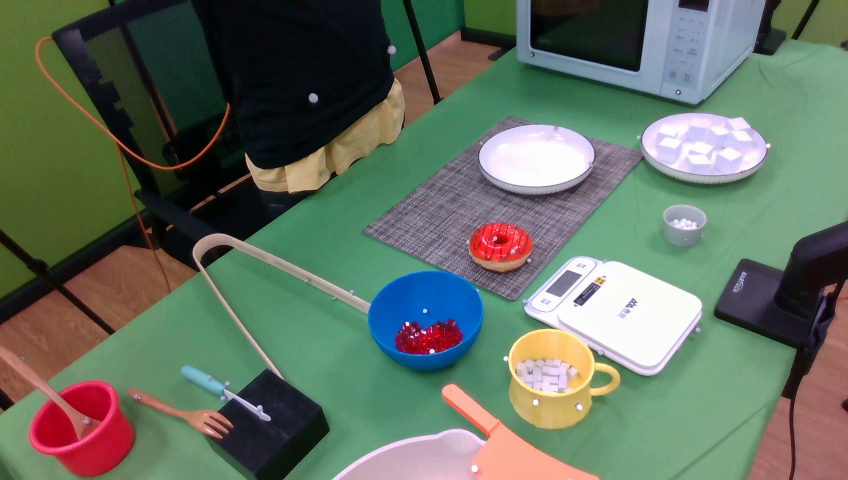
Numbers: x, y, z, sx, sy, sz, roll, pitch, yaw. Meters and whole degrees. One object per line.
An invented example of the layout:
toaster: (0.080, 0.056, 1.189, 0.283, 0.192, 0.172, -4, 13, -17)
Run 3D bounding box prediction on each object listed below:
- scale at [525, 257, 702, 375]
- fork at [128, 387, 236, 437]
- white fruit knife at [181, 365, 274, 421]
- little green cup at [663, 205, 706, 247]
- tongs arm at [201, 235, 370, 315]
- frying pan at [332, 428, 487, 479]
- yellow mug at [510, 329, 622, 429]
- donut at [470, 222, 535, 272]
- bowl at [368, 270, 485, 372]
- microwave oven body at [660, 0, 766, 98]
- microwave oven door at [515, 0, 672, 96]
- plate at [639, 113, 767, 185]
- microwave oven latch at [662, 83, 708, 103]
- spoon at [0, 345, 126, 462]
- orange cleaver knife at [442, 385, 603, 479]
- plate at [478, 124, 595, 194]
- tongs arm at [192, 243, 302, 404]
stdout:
scale: (0.254, 0.091, 0.821, 0.199, 0.032, 0.149, 28, 51, 35)
fork: (-0.305, 0.207, 0.744, 0.206, 0.019, 0.028, 3, 41, 36)
white fruit knife: (-0.245, 0.187, 0.747, 0.205, 0.027, 0.016, 9, 42, 40)
little green cup: (0.396, -0.020, 0.926, 0.061, 0.039, 0.061, -4, 40, 4)
tongs arm: (-0.209, 0.062, 0.924, 0.381, 0.026, 0.051, 23, 53, 32)
frying pan: (-0.089, 0.306, 0.564, 0.487, 0.103, 0.306, 10, 41, 7)
yellow mug: (0.168, 0.164, 0.721, 0.130, 0.064, 0.099, 0, 40, 8)
donut: (0.119, 0.009, 0.923, 0.099, 0.048, 0.098, -4, 38, 3)
bowl: (0.007, 0.118, 0.791, 0.151, 0.077, 0.150, -5, 40, 4)
microwave oven body: (0.472, -0.513, 1.317, 0.438, 0.261, 0.327, 26, 51, 34)
microwave oven door: (0.343, -0.454, 1.259, 0.353, 0.245, 0.039, 26, 51, 33)
plate: (0.489, -0.157, 1.074, 0.207, 0.039, 0.206, -4, 40, 4)
microwave oven latch: (0.518, -0.296, 1.204, 0.078, 0.029, 0.030, 28, 52, 35)
spoon: (-0.434, 0.192, 0.720, 0.194, 0.021, 0.042, 47, 53, -7)
orange cleaver knife: (0.086, 0.219, 0.612, 0.209, 0.012, 0.077, 28, 49, 35)
plate: (0.202, -0.142, 1.093, 0.209, 0.038, 0.208, -4, 40, 4)
tongs arm: (-0.268, 0.109, 0.883, 0.028, 0.028, 0.384, -35, 46, -18)
